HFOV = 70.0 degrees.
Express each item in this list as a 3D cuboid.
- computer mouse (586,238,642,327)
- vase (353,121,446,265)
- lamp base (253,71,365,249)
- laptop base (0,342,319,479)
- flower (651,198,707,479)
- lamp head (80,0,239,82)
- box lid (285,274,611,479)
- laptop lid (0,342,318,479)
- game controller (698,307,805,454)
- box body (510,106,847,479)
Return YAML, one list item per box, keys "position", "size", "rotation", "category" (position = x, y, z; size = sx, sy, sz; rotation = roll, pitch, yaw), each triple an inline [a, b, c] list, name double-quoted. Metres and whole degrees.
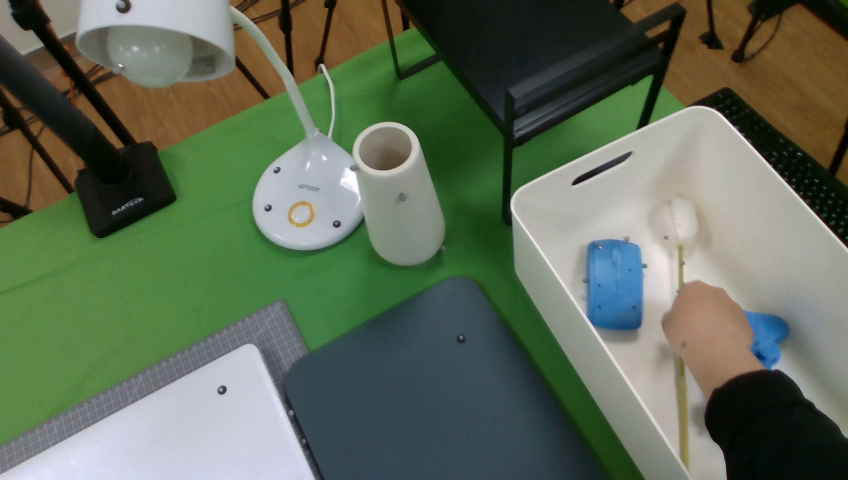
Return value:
- position: [0.224, 0.046, 0.714]
  size: [0.062, 0.041, 0.116]
  rotation: [5, 59, 12]
  category: "computer mouse"
- position: [-0.030, -0.050, 0.705]
  size: [0.098, 0.202, 0.097]
  rotation: [-3, 61, 6]
  category: "vase"
- position: [-0.159, -0.107, 0.758]
  size: [0.160, 0.182, 0.177]
  rotation: [2, 60, 7]
  category: "lamp base"
- position: [-0.298, 0.290, 0.657]
  size: [0.354, 0.023, 0.233]
  rotation: [-28, 67, -9]
  category: "laptop base"
- position: [0.294, 0.112, 0.680]
  size: [0.044, 0.038, 0.358]
  rotation: [-11, 58, 29]
  category: "flower"
- position: [-0.199, -0.194, 0.469]
  size: [0.112, 0.113, 0.122]
  rotation: [-1, 80, 5]
  category: "lamp head"
- position: [0.028, 0.228, 0.661]
  size: [0.263, 0.015, 0.368]
  rotation: [-28, 64, -10]
  category: "box lid"
- position: [-0.298, 0.287, 0.645]
  size: [0.357, 0.013, 0.239]
  rotation: [-27, 66, -8]
  category: "laptop lid"
- position: [0.351, 0.143, 0.648]
  size: [0.097, 0.052, 0.154]
  rotation: [3, 62, 9]
  category: "game controller"
- position: [0.280, 0.074, 0.631]
  size: [0.254, 0.162, 0.360]
  rotation: [-26, 63, -7]
  category: "box body"
